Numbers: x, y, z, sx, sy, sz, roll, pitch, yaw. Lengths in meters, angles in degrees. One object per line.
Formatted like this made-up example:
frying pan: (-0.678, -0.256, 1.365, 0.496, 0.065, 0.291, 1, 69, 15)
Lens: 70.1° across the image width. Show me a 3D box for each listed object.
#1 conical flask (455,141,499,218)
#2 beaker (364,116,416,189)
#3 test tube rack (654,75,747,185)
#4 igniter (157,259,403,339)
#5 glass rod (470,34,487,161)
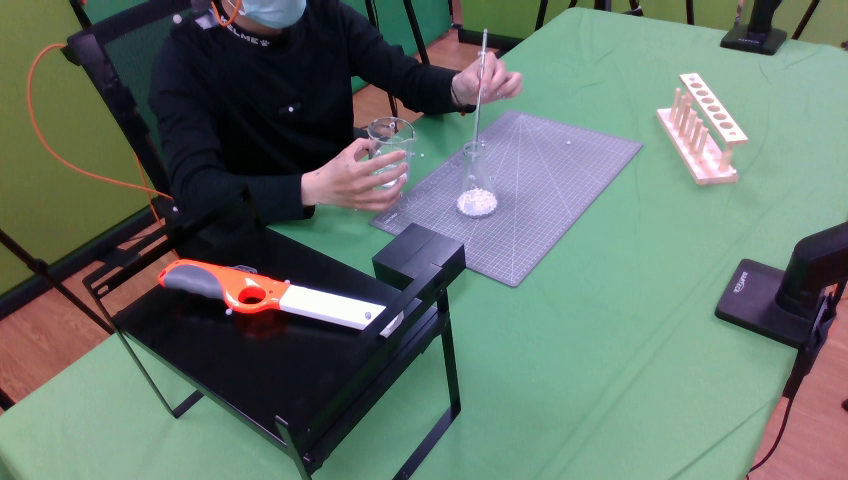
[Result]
conical flask: (0.085, -0.103, 0.999, 0.075, 0.122, 0.075, -4, 40, 4)
beaker: (-0.057, -0.141, 0.996, 0.084, 0.100, 0.074, 11, 45, 4)
test tube rack: (0.491, -0.205, 1.092, 0.067, 0.085, 0.241, -5, 40, 3)
igniter: (-0.157, 0.059, 0.638, 0.275, 0.025, 0.057, 11, 43, 14)
glass rod: (0.085, -0.224, 0.956, 0.008, 0.199, 0.008, 6, 4, 0)
